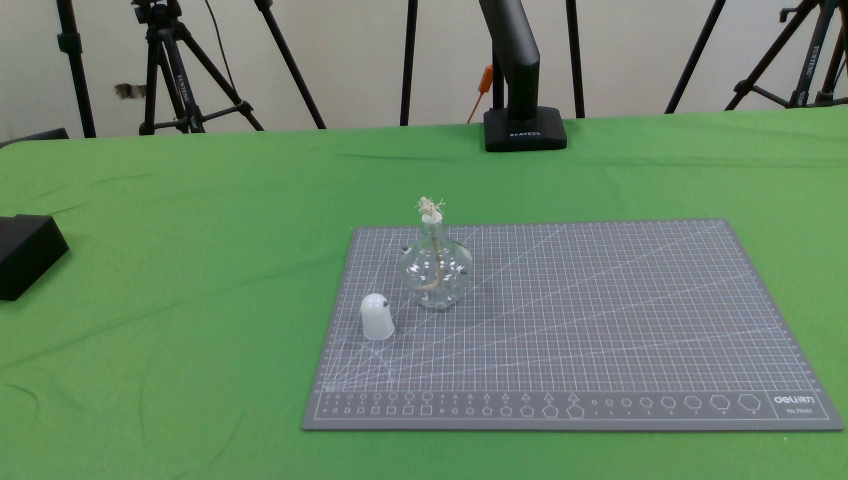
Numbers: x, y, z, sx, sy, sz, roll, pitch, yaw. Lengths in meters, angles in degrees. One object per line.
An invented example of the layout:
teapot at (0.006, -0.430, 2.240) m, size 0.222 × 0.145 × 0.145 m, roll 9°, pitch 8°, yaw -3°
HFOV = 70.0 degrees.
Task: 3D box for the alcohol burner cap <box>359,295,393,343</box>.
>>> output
alcohol burner cap at (-0.049, 0.075, 0.601) m, size 0.034 × 0.048 × 0.033 m, roll -3°, pitch 38°, yaw 3°

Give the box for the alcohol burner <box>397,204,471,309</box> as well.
alcohol burner at (0.010, 0.012, 0.618) m, size 0.078 × 0.120 × 0.077 m, roll -2°, pitch 38°, yaw 2°
